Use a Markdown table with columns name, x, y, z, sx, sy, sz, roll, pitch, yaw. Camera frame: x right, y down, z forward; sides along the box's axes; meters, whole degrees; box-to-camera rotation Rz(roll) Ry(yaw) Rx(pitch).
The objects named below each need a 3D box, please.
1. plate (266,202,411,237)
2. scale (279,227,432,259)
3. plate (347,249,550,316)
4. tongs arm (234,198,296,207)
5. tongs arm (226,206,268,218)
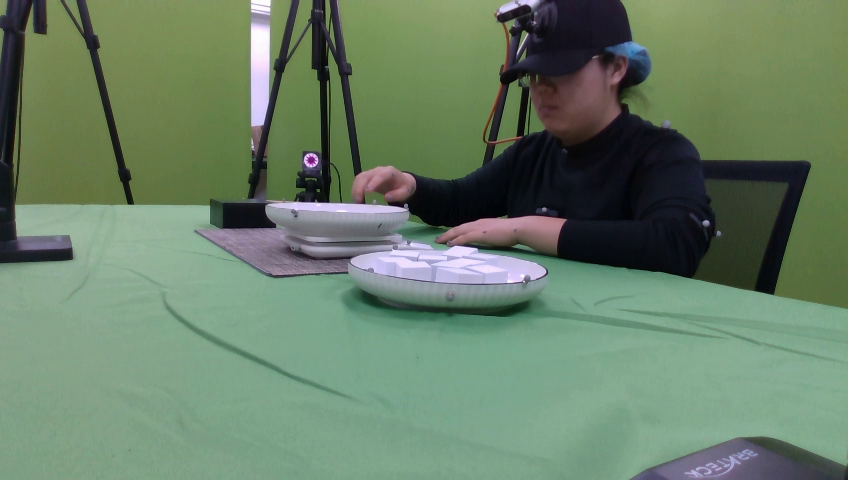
| name | x | y | z | sx | sy | sz | roll | pitch | yaw |
| --- | --- | --- | --- | --- | --- | --- | --- | --- | --- |
| plate | -0.123 | -0.030 | 0.879 | 0.208 | 0.039 | 0.207 | 2 | 6 | 0 |
| scale | -0.100 | 0.001 | 0.899 | 0.202 | 0.031 | 0.148 | -1 | 9 | -31 |
| plate | 0.025 | 0.042 | 0.627 | 0.209 | 0.038 | 0.209 | 2 | 7 | 0 |
| tongs arm | -0.263 | -0.076 | 1.459 | 0.386 | 0.026 | 0.050 | 3 | 8 | -8 |
| tongs arm | -0.247 | -0.061 | 1.381 | 0.389 | 0.028 | 0.028 | 0 | 5 | -21 |
